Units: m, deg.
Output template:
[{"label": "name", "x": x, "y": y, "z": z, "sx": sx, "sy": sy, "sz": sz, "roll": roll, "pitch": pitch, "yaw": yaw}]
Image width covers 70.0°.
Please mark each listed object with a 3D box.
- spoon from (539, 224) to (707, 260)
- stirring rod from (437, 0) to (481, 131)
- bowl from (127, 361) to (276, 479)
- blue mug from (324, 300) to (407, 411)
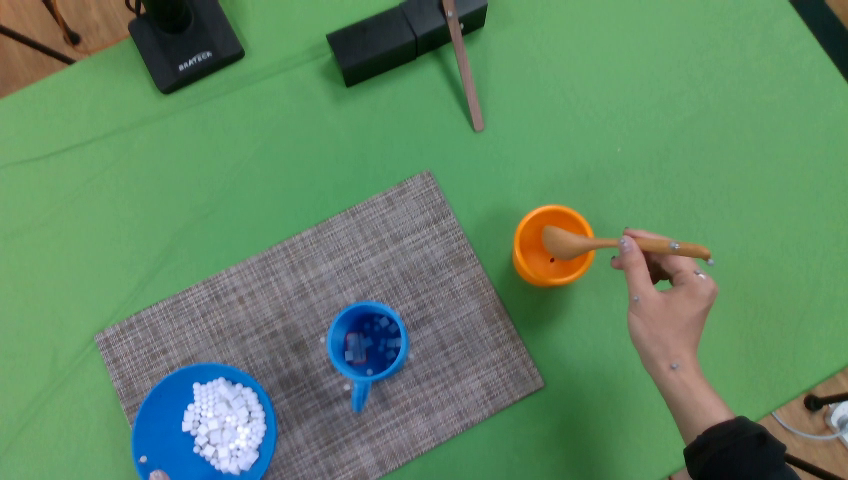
[{"label": "spoon", "x": 0.177, "y": 0.003, "z": 0.573, "sx": 0.021, "sy": 0.192, "sz": 0.042, "roll": -32, "pitch": 109, "yaw": -32}, {"label": "stirring rod", "x": 0.044, "y": -0.224, "z": 0.762, "sx": 0.014, "sy": 0.006, "sz": 0.176, "roll": -18, "pitch": 101, "yaw": -10}, {"label": "bowl", "x": -0.230, "y": 0.209, "z": 0.663, "sx": 0.151, "sy": 0.077, "sz": 0.150, "roll": 0, "pitch": 78, "yaw": -1}, {"label": "blue mug", "x": -0.064, "y": 0.129, "z": 0.667, "sx": 0.082, "sy": 0.106, "sz": 0.116, "roll": 10, "pitch": 78, "yaw": 2}]
